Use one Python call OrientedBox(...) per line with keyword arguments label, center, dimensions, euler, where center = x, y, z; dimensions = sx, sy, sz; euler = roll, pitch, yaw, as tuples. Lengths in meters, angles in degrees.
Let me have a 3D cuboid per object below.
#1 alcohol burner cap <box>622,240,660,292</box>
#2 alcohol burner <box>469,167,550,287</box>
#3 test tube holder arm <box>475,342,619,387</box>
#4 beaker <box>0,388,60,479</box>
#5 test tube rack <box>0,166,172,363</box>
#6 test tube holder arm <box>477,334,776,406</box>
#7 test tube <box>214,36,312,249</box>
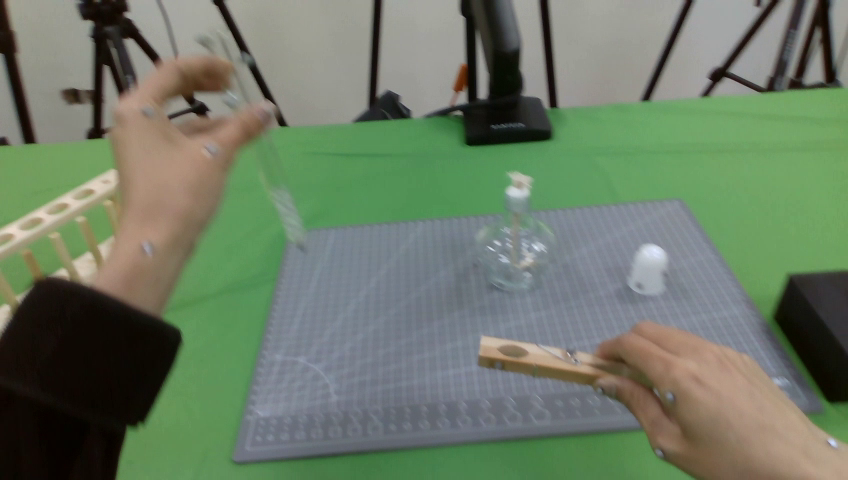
OrientedBox(label="alcohol burner cap", center=(0.206, 0.022, 0.571), dimensions=(0.034, 0.048, 0.033), euler=(-3, 37, 3))
OrientedBox(label="alcohol burner", center=(0.081, -0.015, 0.572), dimensions=(0.078, 0.120, 0.077), euler=(-3, 36, 3))
OrientedBox(label="test tube holder arm", center=(0.075, 0.077, 0.378), dimensions=(0.087, 0.015, 0.010), euler=(8, 47, 9))
OrientedBox(label="beaker", center=(-0.302, 0.157, 0.405), dimensions=(0.084, 0.101, 0.073), euler=(-20, 40, -18))
OrientedBox(label="test tube rack", center=(-0.376, 0.027, 0.593), dimensions=(0.066, 0.086, 0.241), euler=(18, 43, 26))
OrientedBox(label="test tube holder arm", center=(0.121, 0.080, 0.375), dimensions=(0.178, 0.015, 0.013), euler=(8, 47, 9))
OrientedBox(label="test tube", center=(-0.102, -0.057, 0.398), dimensions=(0.017, 0.151, 0.017), euler=(-10, 33, 7))
